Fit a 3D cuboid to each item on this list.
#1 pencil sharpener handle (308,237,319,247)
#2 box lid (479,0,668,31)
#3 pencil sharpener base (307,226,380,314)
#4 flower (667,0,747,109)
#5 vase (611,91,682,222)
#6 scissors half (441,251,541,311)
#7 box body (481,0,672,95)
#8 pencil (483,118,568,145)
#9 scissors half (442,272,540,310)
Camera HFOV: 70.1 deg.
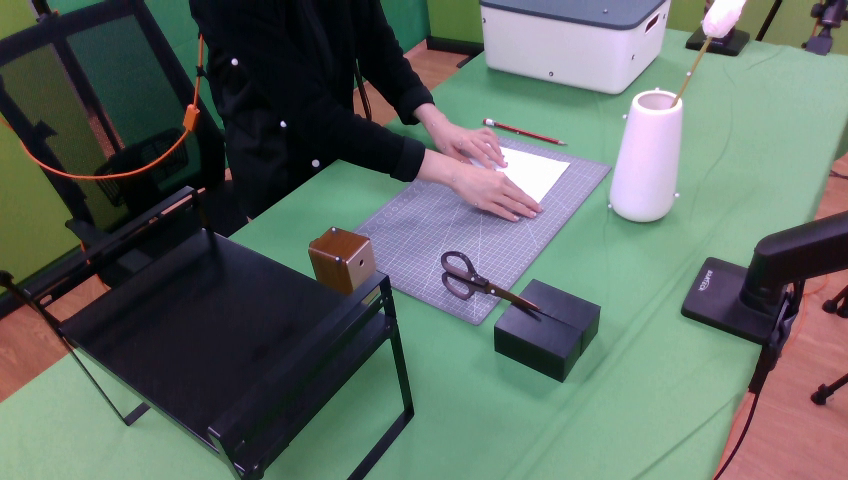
[{"bbox_3d":[-0.159,0.017,0.892,0.030,0.068,0.036,18,61,28],"label":"pencil sharpener handle"},{"bbox_3d":[0.335,-0.536,1.331,0.368,0.015,0.264,23,49,30],"label":"box lid"},{"bbox_3d":[-0.116,0.043,0.875,0.076,0.107,0.061,18,47,27],"label":"pencil sharpener base"},{"bbox_3d":[0.354,-0.187,0.879,0.038,0.362,0.044,30,48,14],"label":"flower"},{"bbox_3d":[0.348,-0.125,0.935,0.098,0.201,0.097,-3,40,3],"label":"vase"},{"bbox_3d":[0.087,0.056,0.824,0.013,0.040,0.173,-29,44,-36],"label":"scissors half"},{"bbox_3d":[0.341,-0.480,1.381,0.361,0.161,0.255,22,48,30],"label":"box body"},{"bbox_3d":[0.201,-0.217,1.212,0.192,0.012,0.012,24,49,29],"label":"pencil"},{"bbox_3d":[0.089,0.075,0.832,0.013,0.040,0.173,-23,23,-38],"label":"scissors half"}]
